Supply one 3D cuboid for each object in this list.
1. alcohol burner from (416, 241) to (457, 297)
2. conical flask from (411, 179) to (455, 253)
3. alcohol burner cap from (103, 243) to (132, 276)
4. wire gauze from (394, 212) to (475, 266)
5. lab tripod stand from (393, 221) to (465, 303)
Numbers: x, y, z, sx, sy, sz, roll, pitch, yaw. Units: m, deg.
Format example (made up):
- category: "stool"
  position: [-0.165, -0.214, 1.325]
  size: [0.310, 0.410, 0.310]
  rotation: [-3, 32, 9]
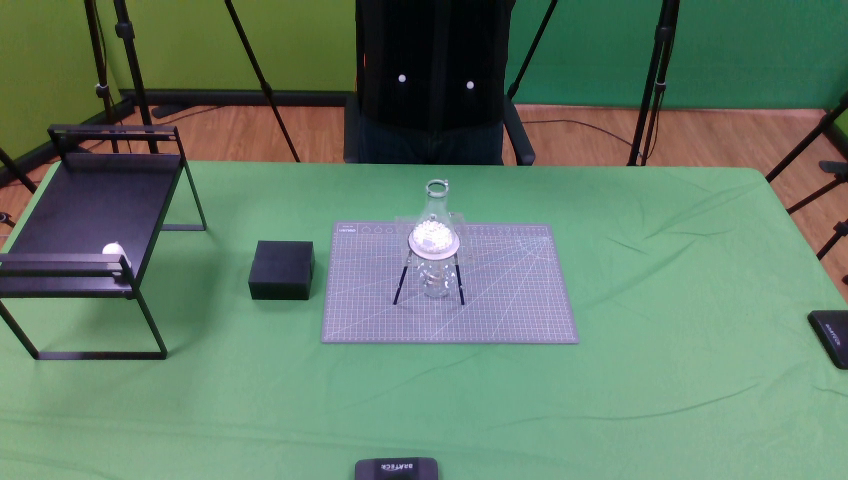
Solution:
- category: "alcohol burner"
  position: [0.024, 0.047, 1.088]
  size: [0.078, 0.120, 0.077]
  rotation: [1, 47, -1]
- category: "conical flask"
  position: [0.017, -0.042, 0.985]
  size: [0.075, 0.122, 0.075]
  rotation: [2, 47, -2]
- category: "alcohol burner cap"
  position: [-0.446, 0.025, 0.875]
  size: [0.034, 0.048, 0.033]
  rotation: [3, 46, -3]
- category: "wire gauze"
  position: [0.015, -0.001, 1.029]
  size: [0.125, 0.011, 0.120]
  rotation: [-5, 45, -5]
- category: "lab tripod stand"
  position: [0.010, 0.045, 1.074]
  size: [0.148, 0.132, 0.147]
  rotation: [2, 48, -2]
